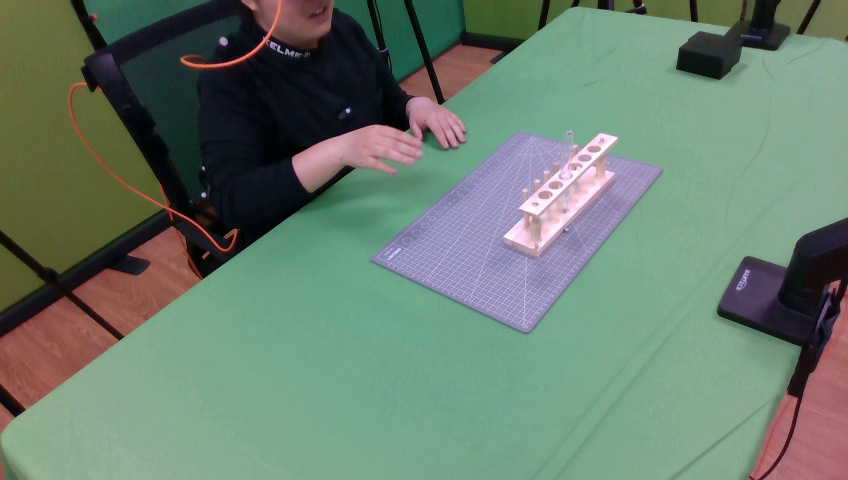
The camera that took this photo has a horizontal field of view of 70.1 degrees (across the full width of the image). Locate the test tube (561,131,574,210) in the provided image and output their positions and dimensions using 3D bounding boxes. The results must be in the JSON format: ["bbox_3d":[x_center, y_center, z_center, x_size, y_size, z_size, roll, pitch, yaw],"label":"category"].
[{"bbox_3d":[0.220,-0.103,0.933,0.017,0.151,0.017,-5,45,6],"label":"test tube"}]

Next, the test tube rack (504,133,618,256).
[{"bbox_3d":[0.225,-0.083,0.984,0.066,0.085,0.243,25,51,34],"label":"test tube rack"}]
